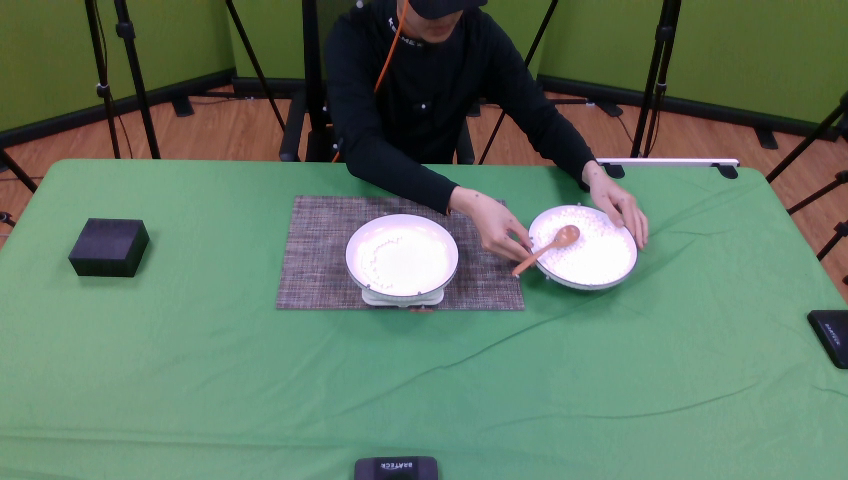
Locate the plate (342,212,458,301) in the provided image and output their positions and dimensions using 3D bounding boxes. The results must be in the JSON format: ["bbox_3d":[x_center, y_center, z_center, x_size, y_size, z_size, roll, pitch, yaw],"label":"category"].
[{"bbox_3d":[-0.043,0.033,1.104,0.208,0.039,0.206,2,46,-2],"label":"plate"}]

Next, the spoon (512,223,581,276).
[{"bbox_3d":[0.227,0.017,1.126,0.194,0.022,0.041,-28,55,-34],"label":"spoon"}]

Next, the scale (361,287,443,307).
[{"bbox_3d":[-0.042,0.040,1.142,0.149,0.032,0.199,0,46,-4],"label":"scale"}]

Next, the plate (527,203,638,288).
[{"bbox_3d":[0.299,0.013,1.155,0.209,0.038,0.208,1,47,-1],"label":"plate"}]
